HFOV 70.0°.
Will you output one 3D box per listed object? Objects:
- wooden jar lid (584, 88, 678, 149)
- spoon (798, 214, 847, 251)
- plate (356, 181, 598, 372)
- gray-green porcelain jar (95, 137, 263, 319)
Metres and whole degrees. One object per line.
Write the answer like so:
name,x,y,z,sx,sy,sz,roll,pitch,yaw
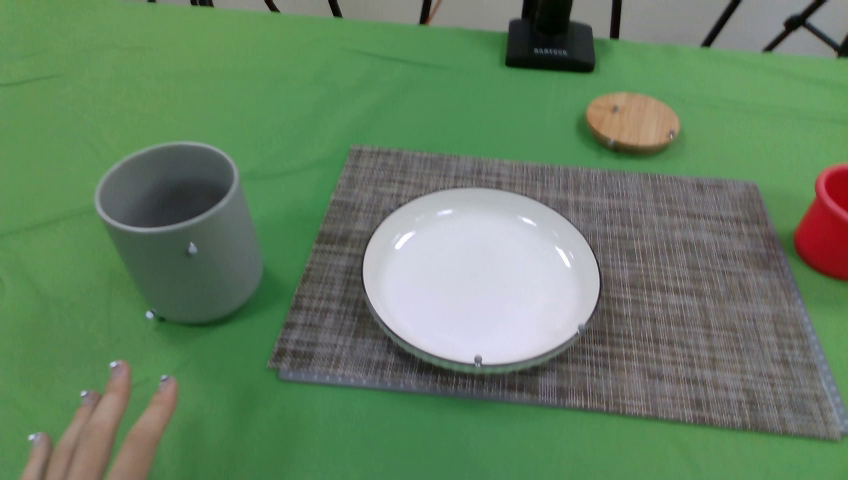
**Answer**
wooden jar lid,0.245,-0.144,0.721,0.108,0.021,0.107,1,48,-1
spoon,0.440,-0.034,0.538,0.193,0.022,0.041,-28,34,36
plate,0.046,0.030,0.536,0.208,0.039,0.205,1,47,-1
gray-green porcelain jar,-0.195,-0.004,0.506,0.106,0.127,0.105,1,47,-1
